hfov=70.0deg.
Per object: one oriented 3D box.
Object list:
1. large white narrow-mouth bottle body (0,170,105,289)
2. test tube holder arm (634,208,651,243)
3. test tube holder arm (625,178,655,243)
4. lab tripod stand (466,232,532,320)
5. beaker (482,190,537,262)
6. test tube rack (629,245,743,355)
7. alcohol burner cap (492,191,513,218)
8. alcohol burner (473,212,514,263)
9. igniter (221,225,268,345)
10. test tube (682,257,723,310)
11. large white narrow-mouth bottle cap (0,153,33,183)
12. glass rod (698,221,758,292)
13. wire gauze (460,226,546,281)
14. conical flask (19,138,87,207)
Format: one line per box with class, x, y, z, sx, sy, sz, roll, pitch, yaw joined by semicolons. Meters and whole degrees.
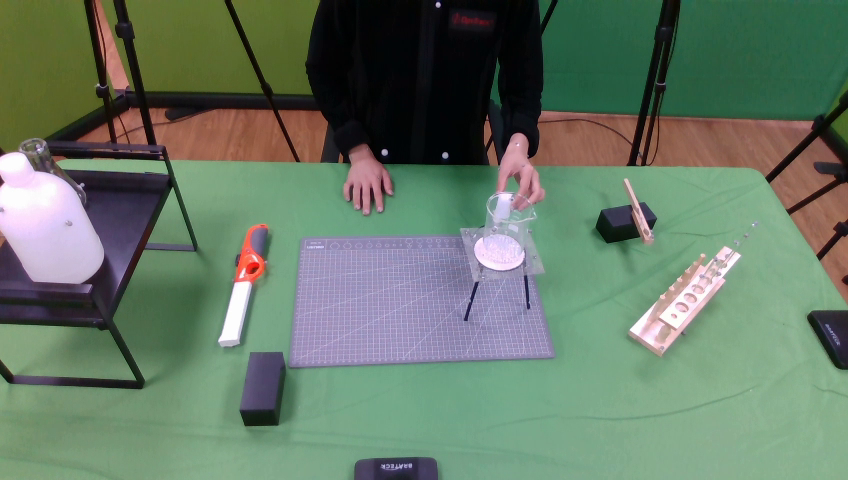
large white narrow-mouth bottle body;-0.513;-0.029;0.818;0.102;0.195;0.101;2;46;-2
test tube holder arm;0.428;-0.030;1.189;0.010;0.015;0.087;1;47;-2
test tube holder arm;0.433;-0.062;1.220;0.013;0.015;0.177;1;47;-3
lab tripod stand;0.125;0.059;1.065;0.148;0.132;0.147;1;45;0
beaker;0.136;-0.019;0.983;0.084;0.101;0.073;17;47;14
test tube rack;0.474;0.095;1.091;0.242;0.085;0.066;-34;56;-31
alcohol burner cap;0.143;-0.067;1.091;0.034;0.048;0.033;6;46;-5
alcohol burner;0.134;-0.013;1.150;0.078;0.120;0.077;0;47;0
igniter;-0.323;0.072;1.100;0.057;0.025;0.274;-6;45;5
test tube;0.475;0.080;1.037;0.017;0.151;0.017;1;50;-1
large white narrow-mouth bottle cap;-0.510;-0.090;0.754;0.038;0.024;0.037;2;46;-2
glass rod;0.528;0.035;1.059;0.008;0.200;0.008;5;49;-6
wire gauze;0.130;0.017;1.016;0.121;0.011;0.124;-4;43;-9
conical flask;-0.576;-0.097;0.930;0.075;0.122;0.075;2;46;-2
